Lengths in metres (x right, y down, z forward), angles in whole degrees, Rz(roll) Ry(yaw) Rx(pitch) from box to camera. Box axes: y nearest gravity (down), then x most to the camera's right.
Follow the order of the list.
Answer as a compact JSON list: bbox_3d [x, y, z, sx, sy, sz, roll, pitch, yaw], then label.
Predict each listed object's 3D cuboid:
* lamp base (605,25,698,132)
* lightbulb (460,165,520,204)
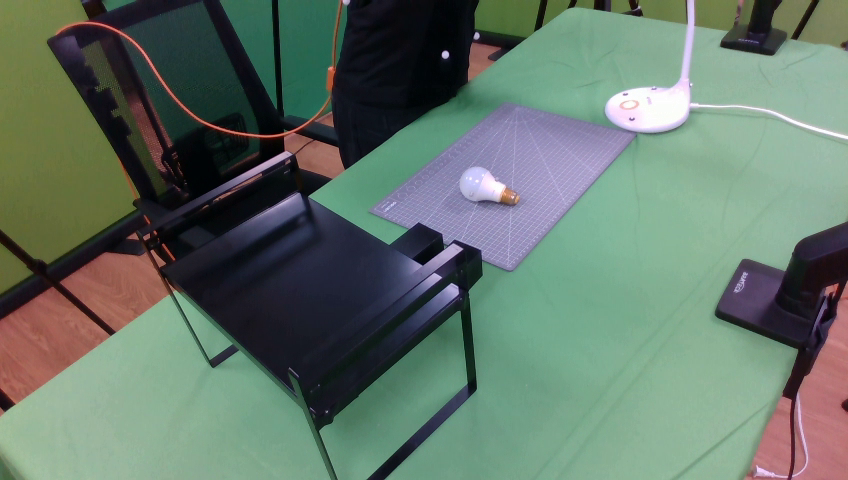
[{"bbox_3d":[0.449,-0.321,1.161,0.179,0.181,0.159,-6,41,-2],"label":"lamp base"},{"bbox_3d":[0.113,-0.089,1.037,0.107,0.059,0.059,22,47,10],"label":"lightbulb"}]
